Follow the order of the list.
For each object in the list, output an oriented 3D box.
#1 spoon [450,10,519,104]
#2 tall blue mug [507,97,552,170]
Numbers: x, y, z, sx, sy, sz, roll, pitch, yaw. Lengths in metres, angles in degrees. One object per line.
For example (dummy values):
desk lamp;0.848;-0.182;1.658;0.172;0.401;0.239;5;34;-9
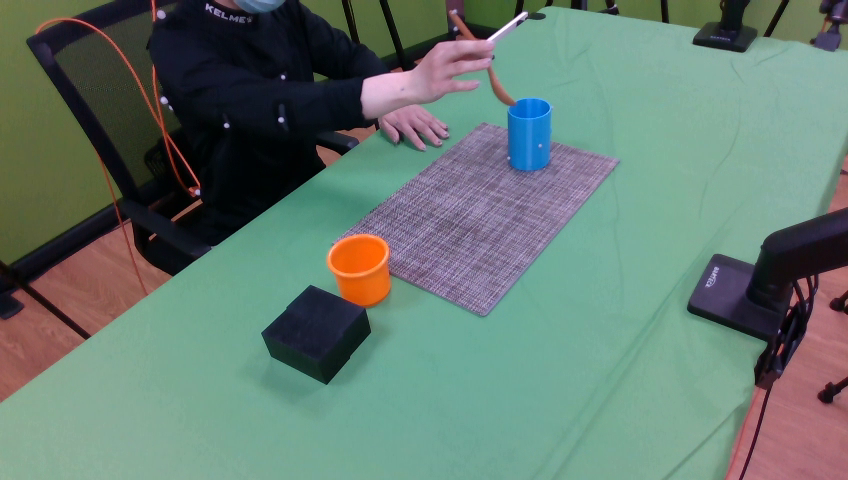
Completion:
spoon;0.098;-0.291;0.977;0.021;0.195;0.041;-43;31;-6
tall blue mug;0.179;-0.198;1.101;0.078;0.108;0.106;-36;49;-28
